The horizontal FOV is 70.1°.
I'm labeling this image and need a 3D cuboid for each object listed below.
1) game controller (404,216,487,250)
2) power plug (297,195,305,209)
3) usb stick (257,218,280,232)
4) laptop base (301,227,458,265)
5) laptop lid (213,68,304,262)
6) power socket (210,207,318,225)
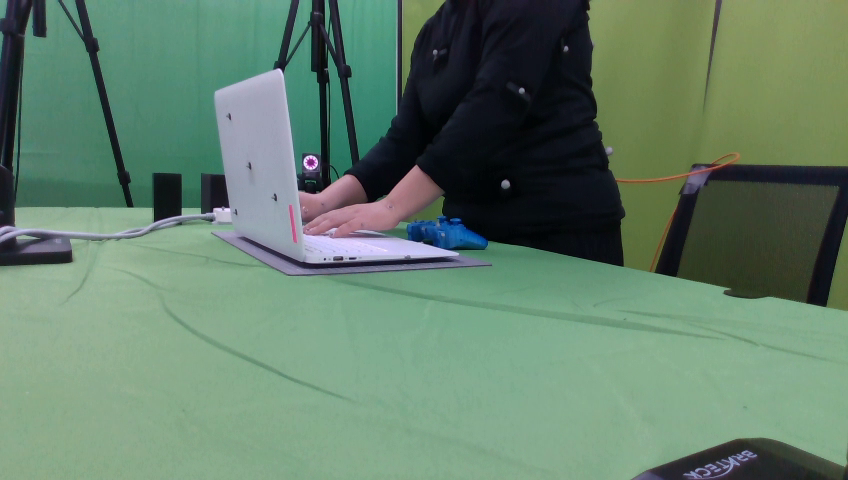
[{"bbox_3d":[0.033,-0.013,1.067,0.097,0.051,0.154,-7,10,-29],"label":"game controller"},{"bbox_3d":[-0.284,-0.076,1.341,0.035,0.052,0.072,0,4,-18],"label":"power plug"},{"bbox_3d":[-0.290,-0.027,1.123,0.021,0.027,0.059,-1,6,15],"label":"usb stick"},{"bbox_3d":[-0.137,0.007,0.950,0.237,0.023,0.352,2,6,-32],"label":"laptop base"},{"bbox_3d":[-0.248,-0.107,0.865,0.013,0.241,0.355,-11,14,-30],"label":"laptop lid"},{"bbox_3d":[-0.335,-0.051,1.280,0.228,0.032,0.072,-1,9,-29],"label":"power socket"}]
